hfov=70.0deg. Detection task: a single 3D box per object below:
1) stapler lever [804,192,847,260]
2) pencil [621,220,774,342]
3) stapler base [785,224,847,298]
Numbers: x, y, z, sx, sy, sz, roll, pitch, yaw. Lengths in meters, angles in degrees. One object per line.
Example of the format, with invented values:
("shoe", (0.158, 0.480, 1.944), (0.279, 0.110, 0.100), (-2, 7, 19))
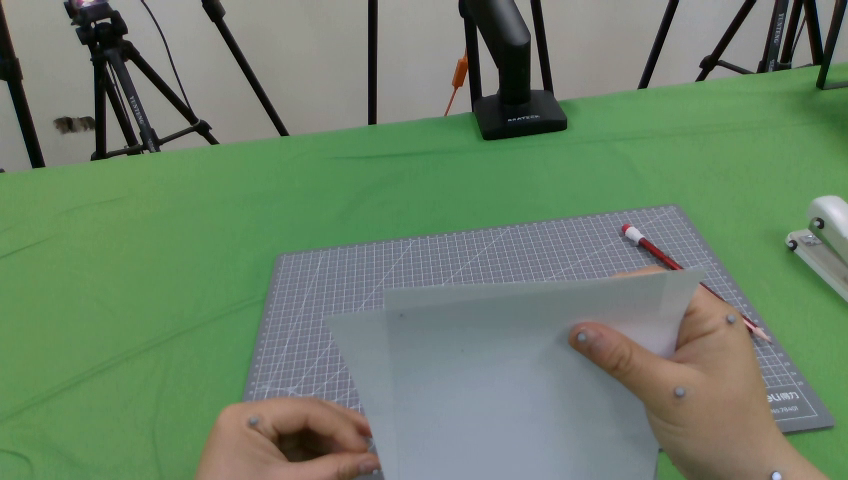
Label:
("stapler lever", (0.384, 0.001, 0.537), (0.027, 0.040, 0.117), (-12, 39, -2))
("pencil", (0.248, 0.033, 0.566), (0.012, 0.012, 0.192), (-19, 39, -15))
("stapler base", (0.386, 0.020, 0.554), (0.041, 0.025, 0.129), (-12, 38, -2))
